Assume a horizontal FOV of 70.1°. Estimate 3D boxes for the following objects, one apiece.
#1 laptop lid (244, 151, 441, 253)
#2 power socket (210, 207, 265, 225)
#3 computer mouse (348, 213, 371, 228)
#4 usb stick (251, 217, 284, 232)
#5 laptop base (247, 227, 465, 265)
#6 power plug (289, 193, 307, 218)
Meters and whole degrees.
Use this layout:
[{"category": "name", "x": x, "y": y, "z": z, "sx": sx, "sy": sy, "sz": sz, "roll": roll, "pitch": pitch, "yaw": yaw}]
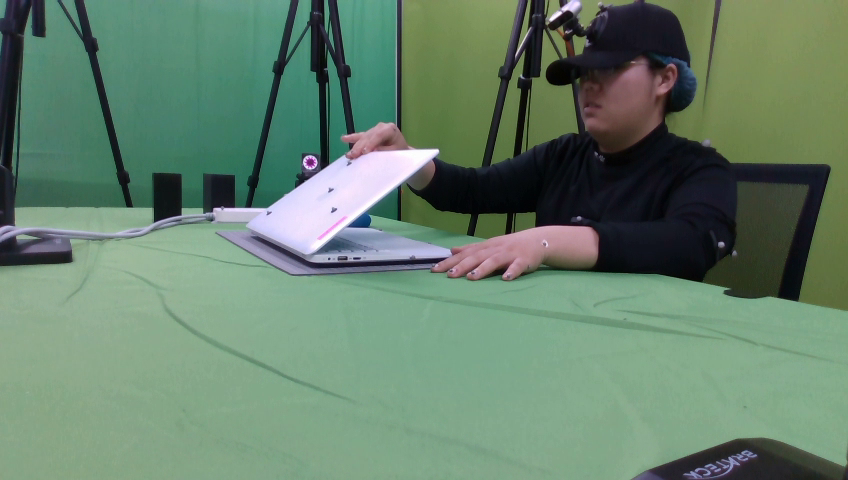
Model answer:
[{"category": "laptop lid", "x": -0.143, "y": -0.073, "z": 0.932, "sx": 0.242, "sy": 0.013, "sz": 0.355, "roll": -38, "pitch": 23, "yaw": -18}, {"category": "power socket", "x": -0.335, "y": -0.051, "z": 1.281, "sx": 0.228, "sy": 0.032, "sz": 0.072, "roll": -1, "pitch": 8, "yaw": -28}, {"category": "computer mouse", "x": -0.175, "y": -0.047, "z": 1.292, "sx": 0.118, "sy": 0.041, "sz": 0.062, "roll": -8, "pitch": 13, "yaw": -34}, {"category": "usb stick", "x": -0.290, "y": -0.028, "z": 1.119, "sx": 0.059, "sy": 0.027, "sz": 0.021, "roll": -3, "pitch": 11, "yaw": -29}, {"category": "laptop base", "x": -0.124, "y": 0.006, "z": 0.955, "sx": 0.237, "sy": 0.023, "sz": 0.352, "roll": 2, "pitch": 6, "yaw": -30}, {"category": "power plug", "x": -0.280, "y": -0.076, "z": 1.340, "sx": 0.035, "sy": 0.052, "sz": 0.072, "roll": 3, "pitch": 6, "yaw": -17}]
